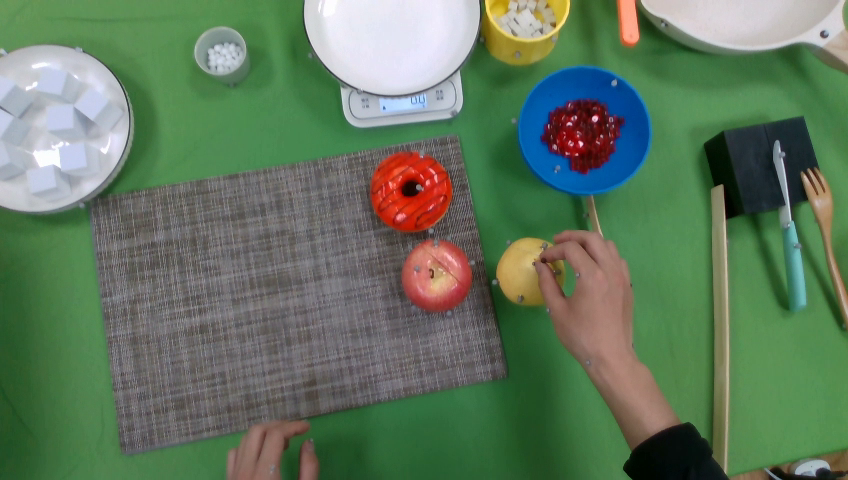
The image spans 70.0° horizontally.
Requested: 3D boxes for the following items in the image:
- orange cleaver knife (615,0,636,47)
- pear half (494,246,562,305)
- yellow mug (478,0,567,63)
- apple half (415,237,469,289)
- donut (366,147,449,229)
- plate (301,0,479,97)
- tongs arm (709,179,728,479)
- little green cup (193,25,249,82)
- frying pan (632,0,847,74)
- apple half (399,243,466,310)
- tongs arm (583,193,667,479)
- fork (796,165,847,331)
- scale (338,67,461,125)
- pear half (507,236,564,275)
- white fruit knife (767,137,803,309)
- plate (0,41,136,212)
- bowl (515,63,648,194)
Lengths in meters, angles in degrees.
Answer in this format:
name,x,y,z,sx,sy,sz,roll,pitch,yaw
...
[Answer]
name,x,y,z,sx,sy,sz,roll,pitch,yaw
orange cleaver knife,0.244,-0.332,0.713,0.077,0.012,0.210,-6,83,0
pear half,0.113,0.041,0.666,0.076,0.110,0.056,23,76,7
yellow mug,0.107,-0.288,0.740,0.100,0.064,0.130,-43,84,-6
apple half,0.028,0.020,0.688,0.081,0.081,0.033,43,86,5
donut,-0.020,-0.061,0.714,0.099,0.048,0.098,0,83,0
plate,-0.039,-0.266,0.718,0.209,0.038,0.208,0,82,-2
tongs arm,0.338,0.120,0.709,0.028,0.028,0.386,4,84,-7
little green cup,-0.244,-0.224,0.737,0.061,0.039,0.061,0,82,-1
frying pan,0.438,-0.285,0.729,0.307,0.103,0.485,-38,77,-5
apple half,0.002,0.049,0.685,0.081,0.075,0.053,43,86,2
tongs arm,0.252,0.128,0.705,0.051,0.026,0.383,-11,84,-5
fork,0.474,0.012,0.711,0.028,0.018,0.208,-20,99,-6
scale,-0.037,-0.246,0.749,0.149,0.031,0.200,-6,83,-2
pear half,0.129,0.013,0.683,0.070,0.088,0.031,22,78,6
white fruit knife,0.419,-0.017,0.706,0.016,0.027,0.208,-13,97,-3
plate,-0.445,-0.132,0.720,0.208,0.039,0.207,0,82,-1
bowl,0.176,-0.121,0.714,0.151,0.077,0.151,0,83,-1
